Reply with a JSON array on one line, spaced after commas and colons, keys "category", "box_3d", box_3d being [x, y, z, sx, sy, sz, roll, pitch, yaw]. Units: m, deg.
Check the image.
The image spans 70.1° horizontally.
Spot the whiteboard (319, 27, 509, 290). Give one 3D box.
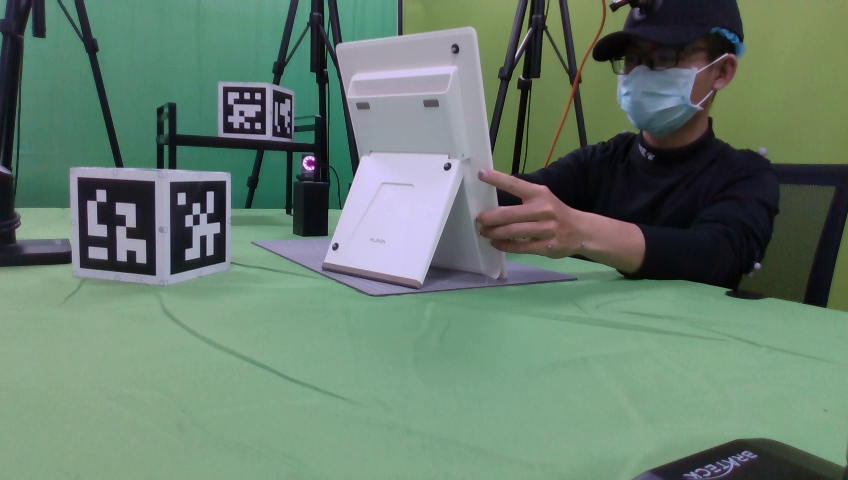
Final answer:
[{"category": "whiteboard", "box_3d": [-0.046, -0.076, 0.721, 0.216, 0.305, 0.144, 9, 29, 39]}]

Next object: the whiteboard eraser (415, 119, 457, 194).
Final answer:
[{"category": "whiteboard eraser", "box_3d": [0.015, -0.104, 0.762, 0.041, 0.101, 0.019, 27, 41, 18]}]
